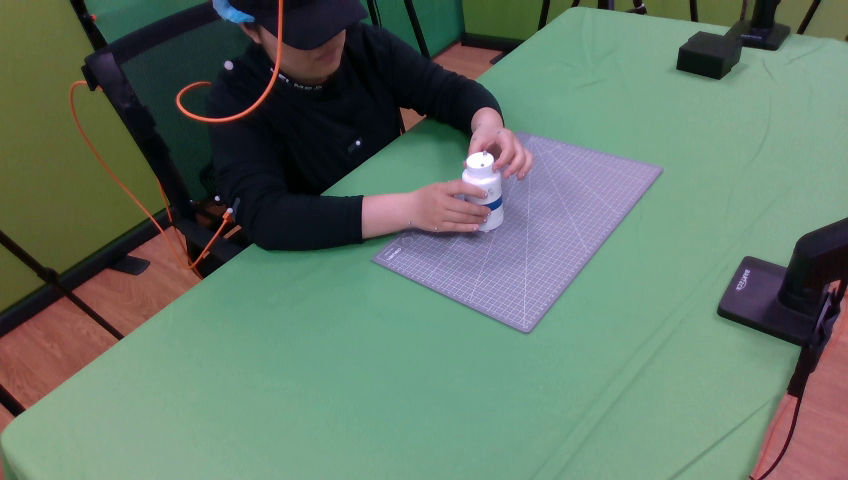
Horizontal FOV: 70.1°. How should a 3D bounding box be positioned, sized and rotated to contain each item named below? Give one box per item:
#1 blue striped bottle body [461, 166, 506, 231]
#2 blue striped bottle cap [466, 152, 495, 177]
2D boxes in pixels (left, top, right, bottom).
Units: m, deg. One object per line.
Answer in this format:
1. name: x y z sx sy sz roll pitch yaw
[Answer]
1. blue striped bottle body: 0.096 -0.078 0.977 0.063 0.121 0.063 -8 41 7
2. blue striped bottle cap: 0.088 -0.118 0.943 0.044 0.021 0.044 -5 42 5
